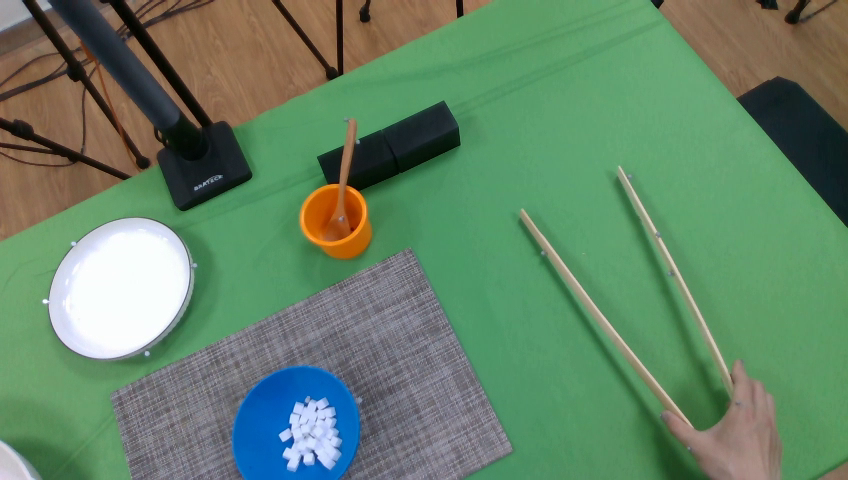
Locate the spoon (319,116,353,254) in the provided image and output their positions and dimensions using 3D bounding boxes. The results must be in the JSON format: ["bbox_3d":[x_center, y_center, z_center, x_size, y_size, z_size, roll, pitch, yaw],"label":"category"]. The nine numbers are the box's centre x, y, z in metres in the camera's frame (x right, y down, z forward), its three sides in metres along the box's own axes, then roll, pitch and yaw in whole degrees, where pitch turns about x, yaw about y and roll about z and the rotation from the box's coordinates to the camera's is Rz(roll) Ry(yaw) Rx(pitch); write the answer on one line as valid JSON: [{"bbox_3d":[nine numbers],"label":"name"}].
[{"bbox_3d":[-0.113,-0.070,0.811,0.041,0.195,0.021,20,28,17],"label":"spoon"}]

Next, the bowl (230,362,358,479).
[{"bbox_3d":[-0.146,0.230,0.731,0.151,0.077,0.150,-2,68,5],"label":"bowl"}]

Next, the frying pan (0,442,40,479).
[{"bbox_3d":[-0.535,0.458,0.675,0.307,0.104,0.483,-29,60,-4],"label":"frying pan"}]

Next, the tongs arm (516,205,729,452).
[{"bbox_3d":[0.228,0.098,0.756,0.028,0.028,0.384,-29,63,-10],"label":"tongs arm"}]

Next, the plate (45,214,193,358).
[{"bbox_3d":[-0.421,0.065,0.852,0.207,0.039,0.206,-2,69,6],"label":"plate"}]

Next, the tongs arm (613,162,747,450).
[{"bbox_3d":[0.302,0.065,0.758,0.051,0.027,0.381,-19,63,-1],"label":"tongs arm"}]
